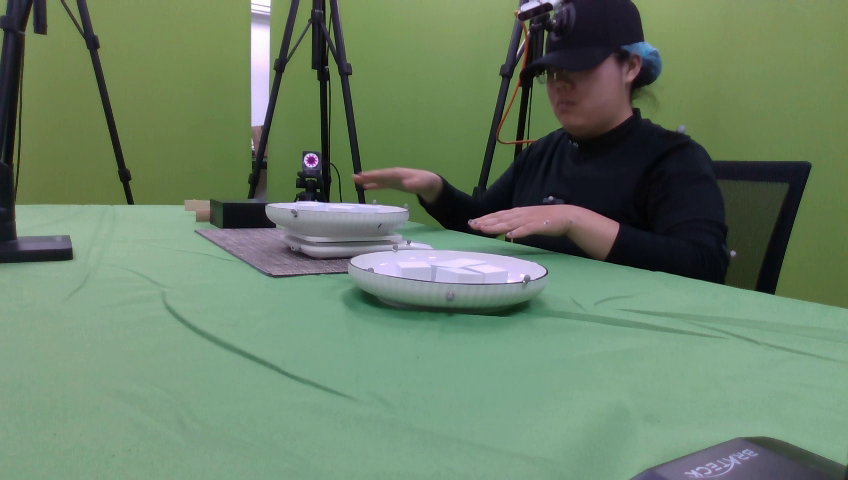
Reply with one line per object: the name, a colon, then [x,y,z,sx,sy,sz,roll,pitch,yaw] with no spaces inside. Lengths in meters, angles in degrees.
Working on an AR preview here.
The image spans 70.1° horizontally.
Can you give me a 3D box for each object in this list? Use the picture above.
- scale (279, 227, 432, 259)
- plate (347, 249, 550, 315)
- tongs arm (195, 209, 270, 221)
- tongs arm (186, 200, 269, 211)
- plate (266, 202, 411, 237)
scale: [-0.100,0.001,0.899,0.202,0.031,0.148,-1,9,-31]
plate: [0.025,0.042,0.627,0.209,0.038,0.209,2,7,0]
tongs arm: [-0.305,-0.057,1.331,0.390,0.028,0.028,-3,7,-38]
tongs arm: [-0.343,-0.072,1.399,0.387,0.026,0.050,0,9,-25]
plate: [-0.123,-0.030,0.879,0.208,0.039,0.207,2,6,0]
